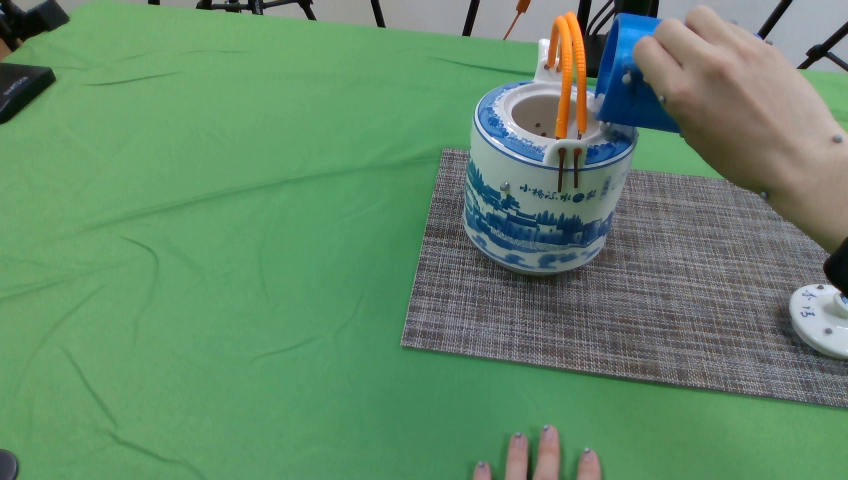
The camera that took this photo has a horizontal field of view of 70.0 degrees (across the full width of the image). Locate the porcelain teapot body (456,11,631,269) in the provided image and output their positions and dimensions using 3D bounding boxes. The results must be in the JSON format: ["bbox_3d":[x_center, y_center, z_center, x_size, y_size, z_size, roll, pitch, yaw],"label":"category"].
[{"bbox_3d":[0.109,-0.110,0.568,0.145,0.227,0.203,2,44,-2],"label":"porcelain teapot body"}]

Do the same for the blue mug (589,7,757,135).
[{"bbox_3d":[0.186,-0.129,0.458,0.106,0.082,0.116,10,13,5],"label":"blue mug"}]

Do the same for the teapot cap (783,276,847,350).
[{"bbox_3d":[0.367,0.060,0.540,0.085,0.044,0.084,3,43,-3],"label":"teapot cap"}]
